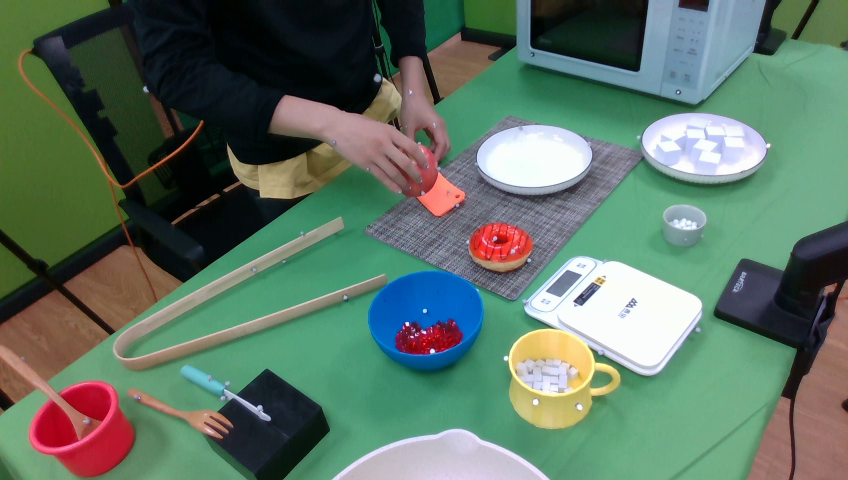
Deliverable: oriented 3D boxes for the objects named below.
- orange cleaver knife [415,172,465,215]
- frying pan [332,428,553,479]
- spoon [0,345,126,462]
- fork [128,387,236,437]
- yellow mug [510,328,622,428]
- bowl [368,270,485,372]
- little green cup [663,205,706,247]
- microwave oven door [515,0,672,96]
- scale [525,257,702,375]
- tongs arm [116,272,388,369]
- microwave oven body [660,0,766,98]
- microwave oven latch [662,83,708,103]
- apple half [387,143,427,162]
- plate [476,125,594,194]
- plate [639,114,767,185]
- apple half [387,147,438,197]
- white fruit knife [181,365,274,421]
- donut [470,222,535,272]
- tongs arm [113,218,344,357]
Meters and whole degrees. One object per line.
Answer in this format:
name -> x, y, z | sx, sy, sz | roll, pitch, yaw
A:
orange cleaver knife -> 0.004, -0.113, 1.102 | 0.077, 0.012, 0.209 | -24, 45, -9
frying pan -> -0.089, 0.306, 0.564 | 0.487, 0.103, 0.306 | 10, 41, 7
spoon -> -0.434, 0.192, 0.720 | 0.194, 0.021, 0.042 | 47, 53, -7
fork -> -0.305, 0.207, 0.744 | 0.206, 0.019, 0.028 | 3, 41, 36
yellow mug -> 0.169, 0.164, 0.722 | 0.130, 0.064, 0.099 | 0, 40, 8
bowl -> 0.007, 0.118, 0.791 | 0.151, 0.077, 0.150 | -4, 40, 4
little green cup -> 0.396, -0.020, 0.926 | 0.061, 0.039, 0.061 | -4, 40, 4
microwave oven door -> 0.343, -0.454, 1.259 | 0.353, 0.245, 0.039 | 26, 51, 33
scale -> 0.254, 0.091, 0.821 | 0.199, 0.032, 0.149 | 28, 51, 35
tongs arm -> -0.236, 0.113, 0.868 | 0.389, 0.028, 0.028 | -18, 48, -13
microwave oven body -> 0.472, -0.513, 1.317 | 0.438, 0.261, 0.327 | 26, 51, 34
microwave oven latch -> 0.518, -0.296, 1.204 | 0.078, 0.029, 0.030 | 28, 52, 35
apple half -> -0.023, -0.129, 0.980 | 0.081, 0.081, 0.032 | -12, 51, -5
plate -> 0.199, -0.141, 1.093 | 0.209, 0.038, 0.208 | -4, 40, 4
plate -> 0.489, -0.157, 1.074 | 0.207, 0.039, 0.206 | -4, 40, 4
apple half -> -0.015, -0.101, 0.956 | 0.081, 0.075, 0.053 | -12, 51, -3
white fruit knife -> -0.246, 0.187, 0.747 | 0.205, 0.027, 0.016 | 9, 41, 40
donut -> 0.119, 0.009, 0.923 | 0.099, 0.048, 0.098 | -4, 39, 3
tongs arm -> -0.280, 0.067, 0.926 | 0.386, 0.026, 0.050 | -28, 48, -23
